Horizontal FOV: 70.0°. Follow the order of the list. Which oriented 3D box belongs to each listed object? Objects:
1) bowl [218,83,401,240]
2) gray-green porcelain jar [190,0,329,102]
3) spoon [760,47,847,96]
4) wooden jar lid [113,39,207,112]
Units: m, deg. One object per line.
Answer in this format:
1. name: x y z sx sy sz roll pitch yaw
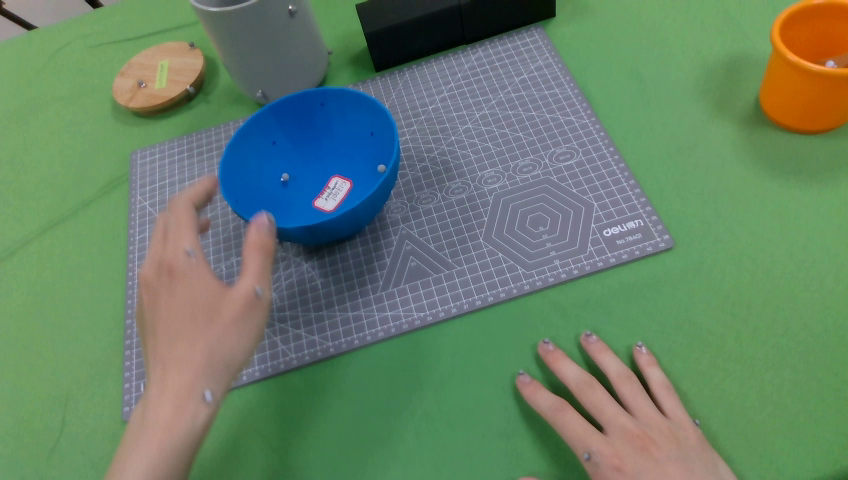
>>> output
1. bowl: -0.087 -0.053 0.517 0.151 0.077 0.150 -5 56 8
2. gray-green porcelain jar: -0.160 -0.213 0.611 0.106 0.128 0.105 -5 56 8
3. spoon: 0.351 -0.153 0.454 0.022 0.193 0.041 37 62 -18
4. wooden jar lid: -0.296 -0.185 0.685 0.108 0.021 0.107 -4 57 7
